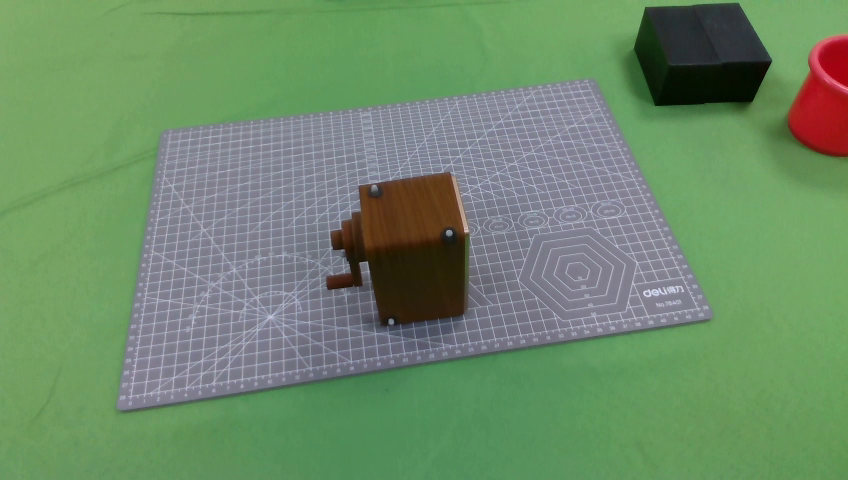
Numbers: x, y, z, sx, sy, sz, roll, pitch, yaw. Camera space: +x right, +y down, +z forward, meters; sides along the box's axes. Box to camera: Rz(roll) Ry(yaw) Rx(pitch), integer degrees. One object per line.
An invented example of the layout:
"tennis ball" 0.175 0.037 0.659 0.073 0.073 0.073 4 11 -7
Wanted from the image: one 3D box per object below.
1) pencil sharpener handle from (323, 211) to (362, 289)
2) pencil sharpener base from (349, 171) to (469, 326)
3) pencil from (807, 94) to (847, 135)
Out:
"pencil sharpener handle" -0.061 0.011 0.431 0.031 0.068 0.035 -8 47 -3
"pencil sharpener base" -0.010 0.010 0.445 0.077 0.108 0.060 -8 53 -3
"pencil" 0.424 -0.167 0.541 0.194 0.012 0.012 -48 55 18
